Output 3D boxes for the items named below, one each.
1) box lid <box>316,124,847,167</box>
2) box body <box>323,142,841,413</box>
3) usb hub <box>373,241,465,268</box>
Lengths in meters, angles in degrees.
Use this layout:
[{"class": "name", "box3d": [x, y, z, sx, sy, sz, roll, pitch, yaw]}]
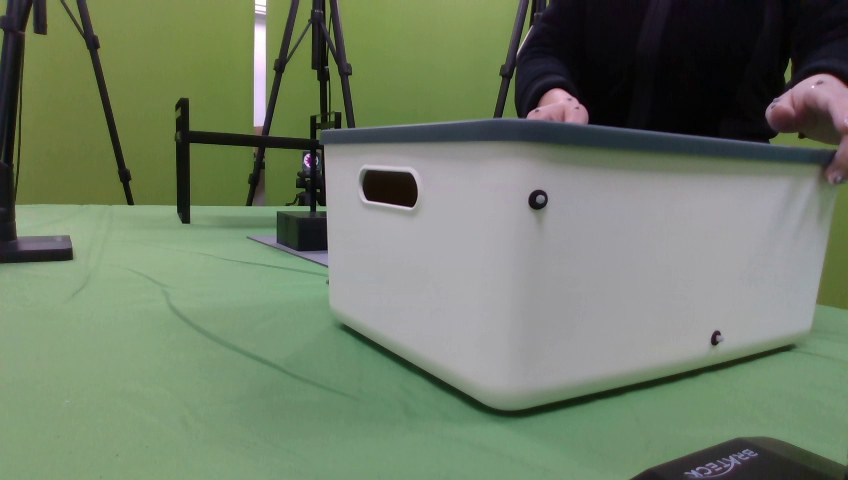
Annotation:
[{"class": "box lid", "box3d": [0.127, -0.072, 0.491, 0.373, 0.015, 0.262, -3, 9, -33]}, {"class": "box body", "box3d": [0.123, 0.001, 0.499, 0.366, 0.160, 0.253, -3, 9, -33]}, {"class": "usb hub", "box3d": [-0.005, 0.018, 0.826, 0.126, 0.025, 0.049, -3, 9, -39]}]
